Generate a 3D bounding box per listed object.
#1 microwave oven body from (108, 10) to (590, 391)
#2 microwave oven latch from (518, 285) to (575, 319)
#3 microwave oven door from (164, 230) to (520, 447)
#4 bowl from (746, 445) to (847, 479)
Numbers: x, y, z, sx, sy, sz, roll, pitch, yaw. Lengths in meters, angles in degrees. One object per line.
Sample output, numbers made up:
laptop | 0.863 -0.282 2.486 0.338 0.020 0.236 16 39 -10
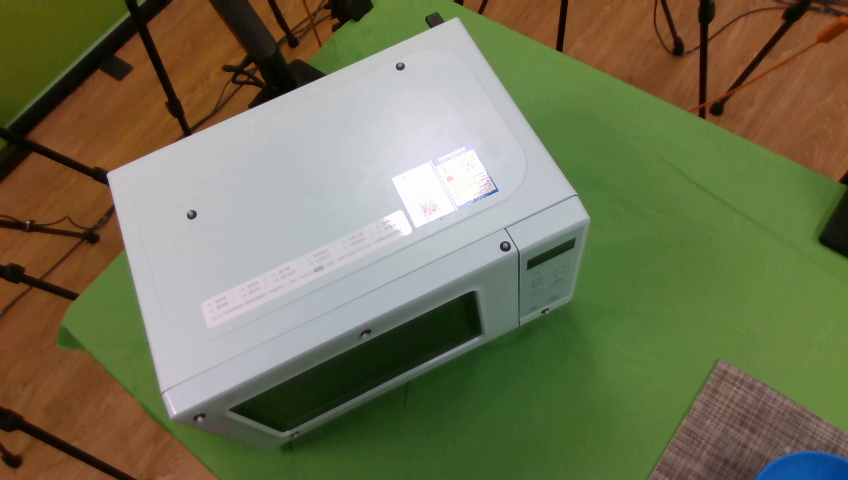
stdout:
microwave oven body | -0.082 -0.012 0.738 0.442 0.262 0.323 -26 65 -3
microwave oven latch | 0.152 0.070 0.773 0.079 0.030 0.030 -24 65 -2
microwave oven door | -0.061 0.120 0.668 0.356 0.246 0.039 -26 63 -4
bowl | 0.398 0.294 0.627 0.151 0.077 0.150 -3 65 7
